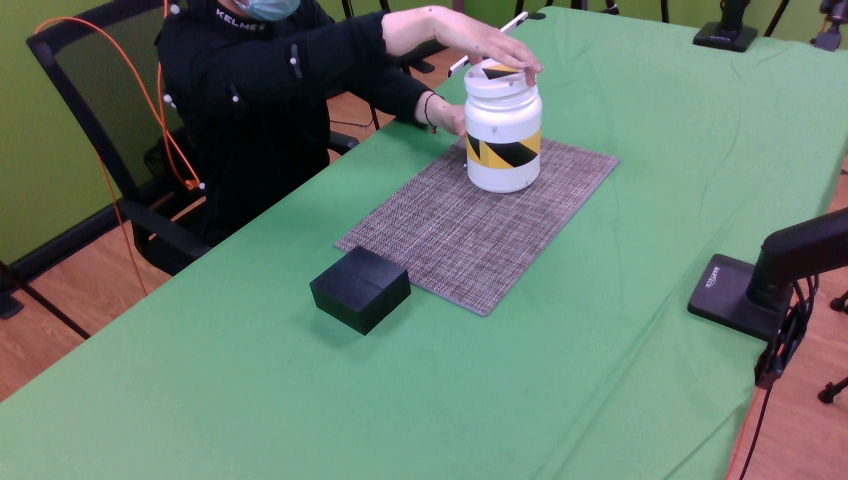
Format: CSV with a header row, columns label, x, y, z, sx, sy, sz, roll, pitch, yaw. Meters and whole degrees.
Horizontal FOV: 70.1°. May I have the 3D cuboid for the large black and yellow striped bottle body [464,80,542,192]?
label,x,y,z,sx,sy,sz,roll,pitch,yaw
large black and yellow striped bottle body,0.136,-0.190,1.040,0.131,0.185,0.130,-4,41,4

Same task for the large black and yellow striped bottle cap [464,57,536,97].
label,x,y,z,sx,sy,sz,roll,pitch,yaw
large black and yellow striped bottle cap,0.120,-0.263,0.967,0.115,0.019,0.114,-8,38,6
